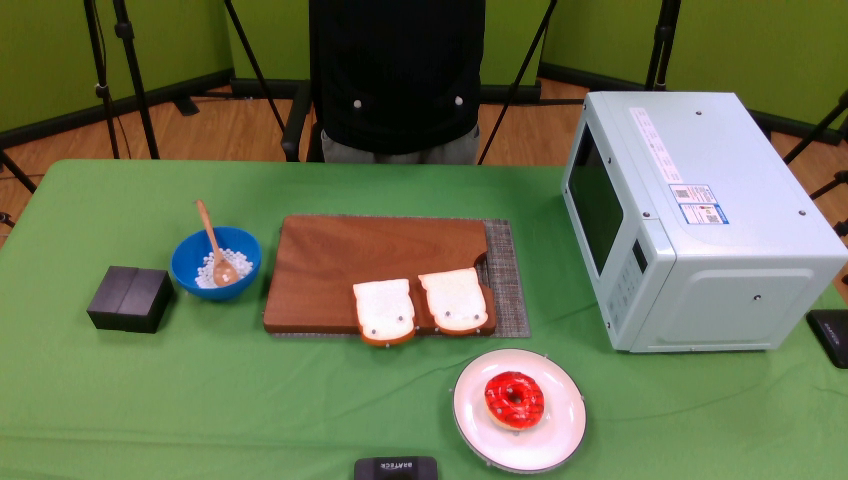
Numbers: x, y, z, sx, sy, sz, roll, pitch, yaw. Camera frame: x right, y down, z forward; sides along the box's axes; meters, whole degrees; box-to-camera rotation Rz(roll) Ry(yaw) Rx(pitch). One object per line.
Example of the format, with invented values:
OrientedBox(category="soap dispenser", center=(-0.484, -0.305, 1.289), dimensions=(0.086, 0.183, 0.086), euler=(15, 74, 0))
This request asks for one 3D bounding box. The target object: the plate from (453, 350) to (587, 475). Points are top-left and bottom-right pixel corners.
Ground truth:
OrientedBox(category="plate", center=(0.146, 0.267, 0.943), dimensions=(0.208, 0.039, 0.206), euler=(2, 46, -2))

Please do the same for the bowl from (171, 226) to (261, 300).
OrientedBox(category="bowl", center=(-0.363, 0.054, 1.081), dimensions=(0.151, 0.077, 0.150), euler=(2, 45, -2))

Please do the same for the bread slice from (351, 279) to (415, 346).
OrientedBox(category="bread slice", center=(-0.067, 0.122, 1.040), dimensions=(0.105, 0.019, 0.130), euler=(-7, 47, -9))

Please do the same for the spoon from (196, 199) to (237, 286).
OrientedBox(category="spoon", center=(-0.377, 0.003, 1.086), dimensions=(0.041, 0.022, 0.193), euler=(-20, 70, -15))

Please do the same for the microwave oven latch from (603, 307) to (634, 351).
OrientedBox(category="microwave oven latch", center=(0.332, 0.153, 1.044), dimensions=(0.030, 0.029, 0.078), euler=(0, 45, -4))

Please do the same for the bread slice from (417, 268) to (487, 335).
OrientedBox(category="bread slice", center=(0.055, 0.107, 1.063), dimensions=(0.107, 0.018, 0.133), euler=(-9, 48, -12))

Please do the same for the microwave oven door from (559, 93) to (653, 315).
OrientedBox(category="microwave oven door", center=(0.327, -0.074, 1.123), dimensions=(0.039, 0.245, 0.353), euler=(-1, 46, -5))

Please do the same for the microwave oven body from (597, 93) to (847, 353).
OrientedBox(category="microwave oven body", center=(0.475, -0.041, 1.110), dimensions=(0.326, 0.261, 0.438), euler=(-1, 45, -4))

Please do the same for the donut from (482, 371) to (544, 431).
OrientedBox(category="donut", center=(0.139, 0.250, 0.942), dimensions=(0.099, 0.048, 0.098), euler=(5, 45, -4))
